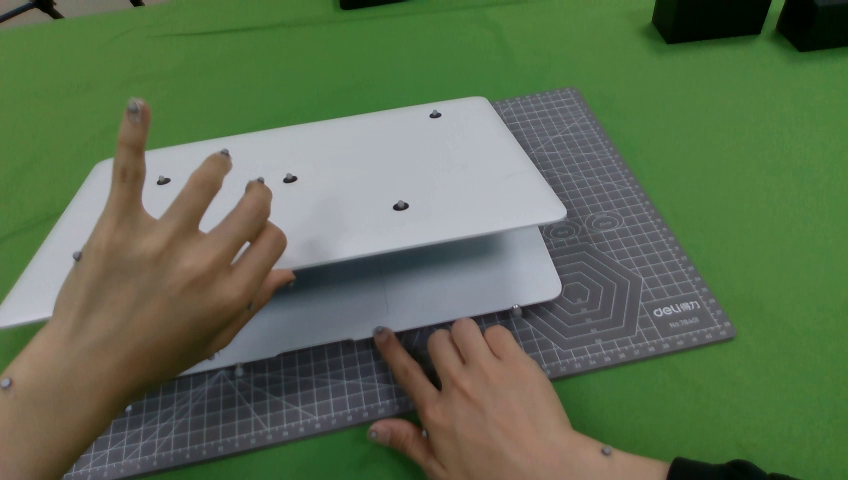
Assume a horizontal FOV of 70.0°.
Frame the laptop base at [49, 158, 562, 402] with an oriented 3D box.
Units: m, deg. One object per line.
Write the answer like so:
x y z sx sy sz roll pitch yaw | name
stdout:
-0.095 -0.008 0.484 0.355 0.023 0.233 -11 52 -4 | laptop base

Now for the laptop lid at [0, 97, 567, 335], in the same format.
-0.099 -0.039 0.454 0.357 0.013 0.239 -10 33 -3 | laptop lid
